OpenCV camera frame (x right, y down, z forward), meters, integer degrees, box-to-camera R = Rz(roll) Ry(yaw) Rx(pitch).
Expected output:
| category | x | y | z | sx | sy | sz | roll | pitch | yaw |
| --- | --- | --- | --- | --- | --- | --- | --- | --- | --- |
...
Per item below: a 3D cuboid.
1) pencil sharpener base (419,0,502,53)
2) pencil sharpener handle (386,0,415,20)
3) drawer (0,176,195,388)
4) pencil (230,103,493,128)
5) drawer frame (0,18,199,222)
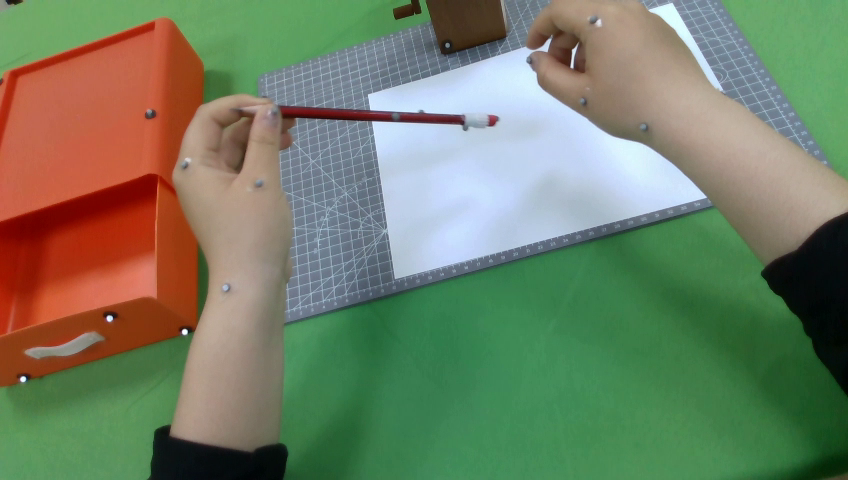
| category | x | y | z | sx | sy | sz | roll | pitch | yaw |
| --- | --- | --- | --- | --- | --- | --- | --- | --- | --- |
| pencil sharpener base | 0.025 | -0.238 | 0.563 | 0.076 | 0.108 | 0.061 | -14 | 58 | 8 |
| pencil sharpener handle | -0.028 | -0.233 | 0.561 | 0.030 | 0.068 | 0.035 | -14 | 64 | 8 |
| drawer | -0.308 | 0.004 | 0.538 | 0.194 | 0.074 | 0.209 | -17 | 58 | 6 |
| pencil | -0.035 | -0.088 | 0.426 | 0.195 | 0.012 | 0.012 | -3 | 53 | -27 |
| drawer frame | -0.331 | -0.094 | 0.598 | 0.201 | 0.083 | 0.211 | -17 | 57 | 6 |
